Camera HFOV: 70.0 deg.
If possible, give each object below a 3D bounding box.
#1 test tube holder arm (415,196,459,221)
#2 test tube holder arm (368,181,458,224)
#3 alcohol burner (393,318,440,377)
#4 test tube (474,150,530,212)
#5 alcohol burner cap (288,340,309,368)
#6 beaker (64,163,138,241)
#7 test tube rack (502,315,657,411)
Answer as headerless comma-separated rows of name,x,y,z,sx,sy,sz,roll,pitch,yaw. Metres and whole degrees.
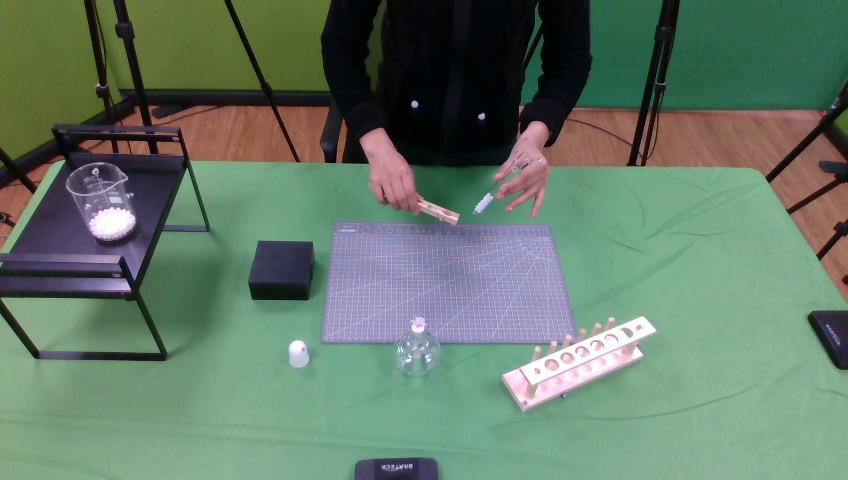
test tube holder arm,0.022,-0.056,1.099,0.087,0.015,0.010,23,47,10
test tube holder arm,-0.021,-0.070,1.102,0.178,0.015,0.013,22,47,8
alcohol burner,-0.011,0.166,0.971,0.078,0.120,0.077,1,45,-1
test tube,0.127,-0.095,1.010,0.017,0.150,0.017,20,44,-21
alcohol burner cap,-0.207,0.183,0.991,0.034,0.048,0.033,3,46,-3
beaker,-0.477,-0.055,0.910,0.084,0.101,0.073,-9,47,-13
test tube rack,0.253,0.186,0.988,0.242,0.085,0.066,-18,50,-20
